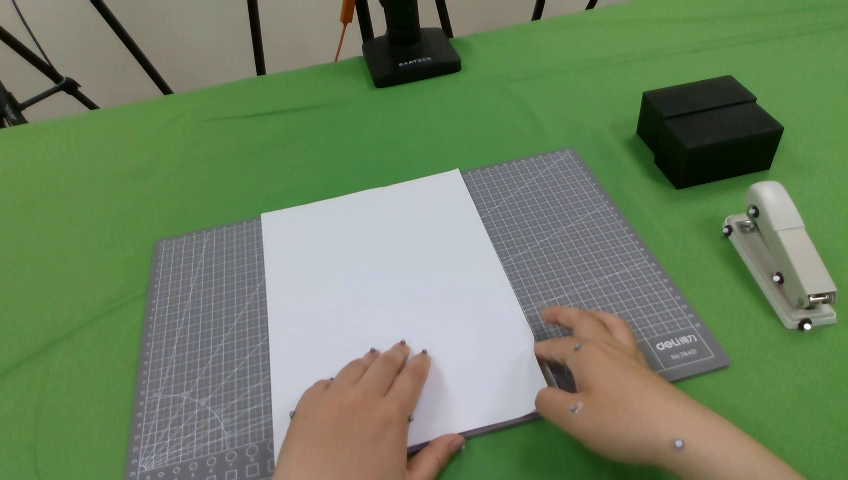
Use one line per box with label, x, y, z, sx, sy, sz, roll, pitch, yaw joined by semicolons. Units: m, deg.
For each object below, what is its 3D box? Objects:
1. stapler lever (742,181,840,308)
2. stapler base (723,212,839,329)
stapler lever;0.295;-0.001;0.490;0.027;0.040;0.117;-10;46;2
stapler base;0.297;0.016;0.509;0.041;0.025;0.129;-9;46;2
